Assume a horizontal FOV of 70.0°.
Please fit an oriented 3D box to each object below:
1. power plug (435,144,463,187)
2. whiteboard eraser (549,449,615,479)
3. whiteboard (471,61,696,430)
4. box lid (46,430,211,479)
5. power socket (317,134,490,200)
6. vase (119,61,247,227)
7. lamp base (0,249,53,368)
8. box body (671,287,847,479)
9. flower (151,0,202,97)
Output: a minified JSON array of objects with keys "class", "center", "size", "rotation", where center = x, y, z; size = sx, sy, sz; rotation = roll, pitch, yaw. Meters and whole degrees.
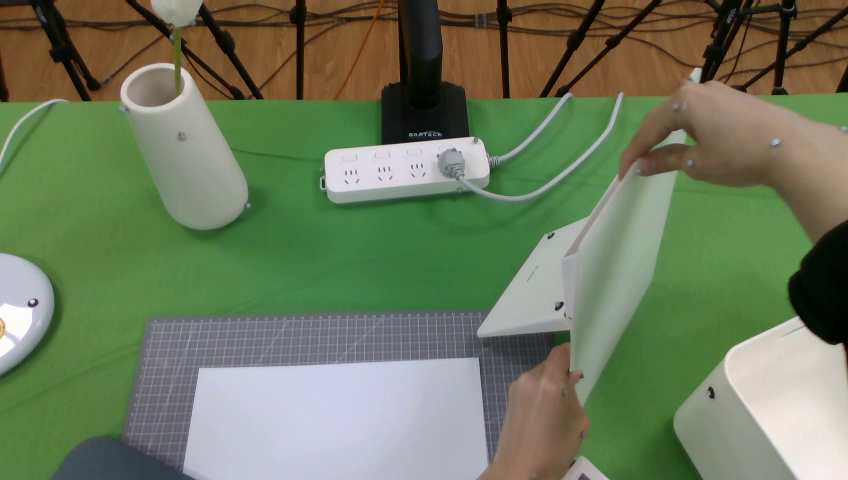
[{"class":"power plug","center":[0.030,-0.087,0.751],"size":[0.035,0.053,0.072],"rotation":[4,64,0]},{"class":"whiteboard eraser","center":[0.128,0.253,0.560],"size":[0.055,0.042,0.112],"rotation":[39,65,21]},{"class":"whiteboard","center":[0.134,0.001,0.587],"size":[0.142,0.308,0.216],"rotation":[24,60,29]},{"class":"box lid","center":[-0.222,0.346,0.514],"size":[0.370,0.015,0.262],"rotation":[21,60,11]},{"class":"power socket","center":[-0.025,-0.095,0.780],"size":[0.227,0.033,0.071],"rotation":[-6,59,-6]},{"class":"vase","center":[-0.267,-0.101,0.679],"size":[0.098,0.201,0.097],"rotation":[0,58,0]},{"class":"lamp base","center":[-0.501,0.033,0.599],"size":[0.178,0.182,0.160],"rotation":[27,61,18]},{"class":"box body","center":[0.422,0.233,0.514],"size":[0.254,0.161,0.360],"rotation":[-20,61,-13]},{"class":"flower","center":[-0.246,-0.138,0.606],"size":[0.038,0.363,0.044],"rotation":[46,57,5]}]
